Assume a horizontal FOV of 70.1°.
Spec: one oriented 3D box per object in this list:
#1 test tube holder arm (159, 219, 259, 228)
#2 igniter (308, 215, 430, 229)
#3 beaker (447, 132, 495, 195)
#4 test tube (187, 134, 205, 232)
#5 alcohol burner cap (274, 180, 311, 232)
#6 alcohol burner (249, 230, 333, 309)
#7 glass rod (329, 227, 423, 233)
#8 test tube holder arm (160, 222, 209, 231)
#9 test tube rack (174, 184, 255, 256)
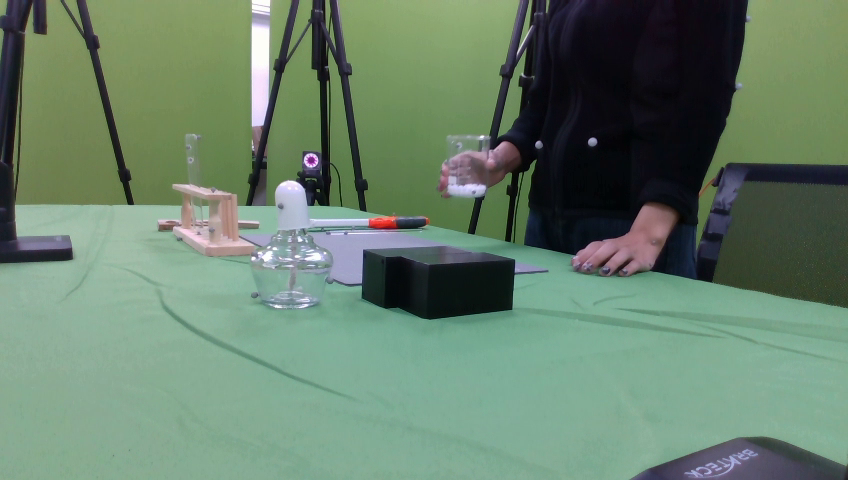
[{"bbox_3d":[-0.390,-0.030,1.107,0.179,0.015,0.013,-3,44,-39],"label":"test tube holder arm"},{"bbox_3d":[-0.109,-0.037,1.228,0.278,0.025,0.057,-3,-1,-35],"label":"igniter"},{"bbox_3d":[0.073,-0.128,1.003,0.083,0.100,0.074,10,14,36],"label":"beaker"},{"bbox_3d":[-0.350,-0.087,0.928,0.017,0.150,0.017,-3,5,1],"label":"test tube"},{"bbox_3d":[-0.125,-0.032,0.563,0.034,0.048,0.034,-5,6,1],"label":"alcohol burner cap"},{"bbox_3d":[-0.125,0.004,0.568,0.078,0.119,0.078,2,10,0],"label":"alcohol burner"},{"bbox_3d":[-0.087,-0.019,1.148,0.201,0.008,0.008,-3,8,-32],"label":"glass rod"},{"bbox_3d":[-0.423,-0.024,1.075,0.088,0.015,0.010,-3,44,-38],"label":"test tube holder arm"},{"bbox_3d":[-0.327,-0.036,0.928,0.067,0.085,0.241,-2,9,-32],"label":"test tube rack"}]
